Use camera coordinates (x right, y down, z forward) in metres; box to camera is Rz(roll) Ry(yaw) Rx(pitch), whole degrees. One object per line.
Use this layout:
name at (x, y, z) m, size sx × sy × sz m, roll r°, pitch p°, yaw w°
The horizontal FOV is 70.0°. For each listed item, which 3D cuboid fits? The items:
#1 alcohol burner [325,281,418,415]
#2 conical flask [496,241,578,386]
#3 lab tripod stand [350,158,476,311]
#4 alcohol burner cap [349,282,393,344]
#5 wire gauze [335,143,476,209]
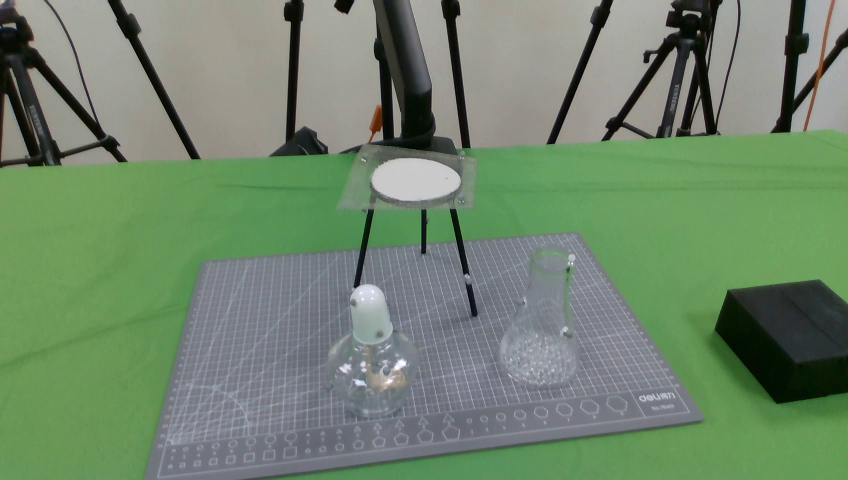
alcohol burner at (-0.044, 0.085, 0.497) m, size 0.078 × 0.120 × 0.077 m, roll 0°, pitch 32°, yaw 0°
conical flask at (0.104, 0.061, 0.527) m, size 0.075 × 0.123 × 0.074 m, roll 1°, pitch 34°, yaw 0°
lab tripod stand at (-0.006, -0.005, 0.614) m, size 0.148 × 0.132 × 0.147 m, roll 2°, pitch 33°, yaw -1°
alcohol burner cap at (-0.043, 0.055, 0.475) m, size 0.034 × 0.048 × 0.033 m, roll -4°, pitch 37°, yaw 4°
wire gauze at (-0.012, -0.061, 0.577) m, size 0.121 × 0.011 × 0.124 m, roll 4°, pitch 34°, yaw 4°
